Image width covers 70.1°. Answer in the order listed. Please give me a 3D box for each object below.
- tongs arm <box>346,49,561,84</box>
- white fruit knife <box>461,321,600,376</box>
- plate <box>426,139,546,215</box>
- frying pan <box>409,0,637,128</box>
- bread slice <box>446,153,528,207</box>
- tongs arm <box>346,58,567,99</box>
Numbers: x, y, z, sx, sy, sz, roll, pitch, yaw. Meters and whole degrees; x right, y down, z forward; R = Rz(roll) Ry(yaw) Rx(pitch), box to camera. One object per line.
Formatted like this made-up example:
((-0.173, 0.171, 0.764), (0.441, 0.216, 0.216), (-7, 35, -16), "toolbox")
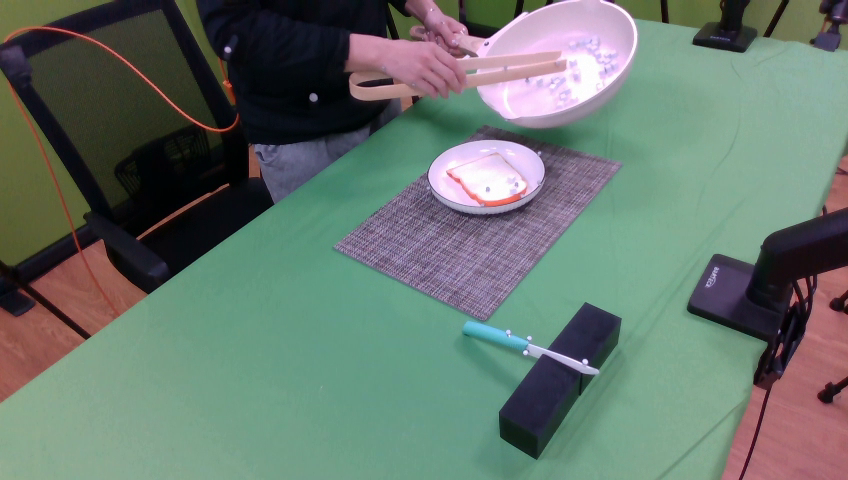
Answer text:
((0.056, -0.303, 1.060), (0.389, 0.028, 0.028), (-9, 55, -9), "tongs arm")
((0.125, 0.133, 0.751), (0.205, 0.027, 0.016), (12, 43, 41), "white fruit knife")
((0.109, -0.107, 1.058), (0.207, 0.039, 0.206), (-4, 40, 4), "plate")
((0.163, -0.356, 1.158), (0.484, 0.103, 0.307), (27, 72, 30), "frying pan")
((0.118, -0.104, 1.057), (0.107, 0.018, 0.133), (-24, 41, -17), "bread slice")
((0.060, -0.287, 1.047), (0.386, 0.026, 0.050), (-12, 53, -12), "tongs arm")
